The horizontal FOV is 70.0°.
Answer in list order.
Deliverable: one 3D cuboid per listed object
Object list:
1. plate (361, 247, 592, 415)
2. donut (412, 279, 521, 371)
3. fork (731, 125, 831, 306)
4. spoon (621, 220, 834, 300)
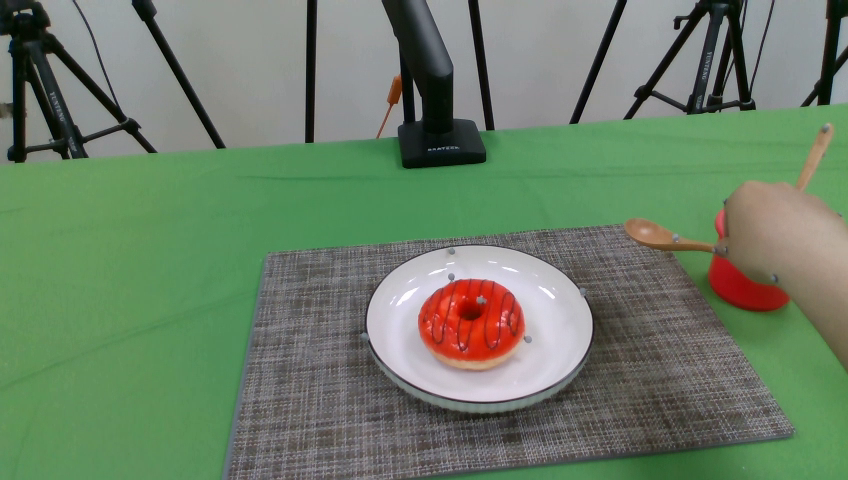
[{"bbox_3d":[0.048,0.081,0.562,0.209,0.038,0.207,-1,36,1],"label":"plate"},{"bbox_3d":[0.039,0.076,0.551,0.099,0.049,0.098,-2,39,2],"label":"donut"},{"bbox_3d":[0.363,-0.027,0.611,0.028,0.019,0.207,26,87,31],"label":"fork"},{"bbox_3d":[0.246,0.013,0.515,0.042,0.022,0.192,-13,19,-26],"label":"spoon"}]
